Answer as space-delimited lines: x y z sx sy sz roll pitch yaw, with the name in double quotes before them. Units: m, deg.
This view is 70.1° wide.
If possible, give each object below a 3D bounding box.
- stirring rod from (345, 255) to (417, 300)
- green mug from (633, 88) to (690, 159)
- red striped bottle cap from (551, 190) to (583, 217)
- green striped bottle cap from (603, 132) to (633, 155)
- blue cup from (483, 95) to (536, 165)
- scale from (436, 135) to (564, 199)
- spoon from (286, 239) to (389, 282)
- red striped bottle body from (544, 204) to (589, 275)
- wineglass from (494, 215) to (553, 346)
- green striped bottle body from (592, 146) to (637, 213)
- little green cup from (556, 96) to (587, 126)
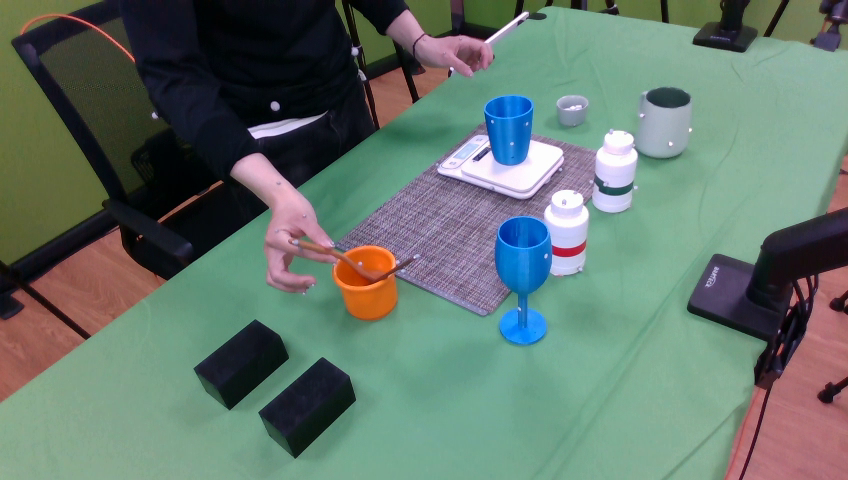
"stirring rod" -0.062 0.053 0.825 0.175 0.006 0.014 -31 12 47
"green mug" 0.423 -0.217 1.099 0.093 0.105 0.124 -16 41 -10
"red striped bottle cap" 0.200 -0.052 0.843 0.044 0.018 0.044 -2 42 2
"green striped bottle cap" 0.302 -0.149 0.938 0.044 0.020 0.044 -3 39 3
"blue cup" 0.149 -0.188 1.053 0.092 0.100 0.092 -6 39 5
"scale" 0.137 -0.142 1.101 0.199 0.032 0.149 22 48 30
"spoon" -0.113 0.027 0.812 0.041 0.195 0.021 23 84 39
"red striped bottle body" 0.206 -0.011 0.877 0.063 0.120 0.062 -5 41 4
"wineglass" 0.127 0.055 0.770 0.074 0.173 0.073 -4 40 4
"green striped bottle body" 0.307 -0.108 0.976 0.063 0.120 0.063 -4 41 4
"little green cup" 0.295 -0.258 1.214 0.061 0.039 0.061 -4 42 4
